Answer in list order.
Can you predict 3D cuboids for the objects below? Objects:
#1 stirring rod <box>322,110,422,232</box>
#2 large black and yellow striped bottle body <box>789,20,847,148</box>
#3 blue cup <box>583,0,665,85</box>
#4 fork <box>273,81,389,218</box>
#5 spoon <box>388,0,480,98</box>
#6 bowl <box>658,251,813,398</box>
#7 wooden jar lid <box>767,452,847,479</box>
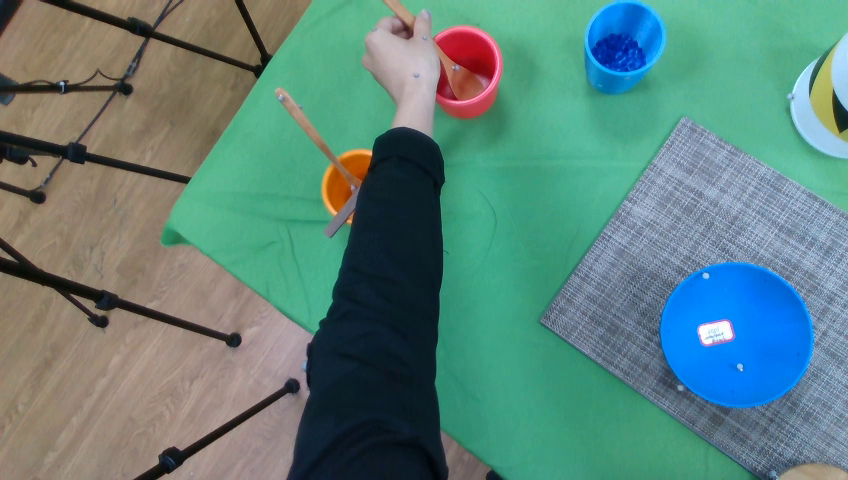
[{"bbox_3d":[-0.061,-0.080,0.704,0.014,0.006,0.176,39,91,9],"label":"stirring rod"},{"bbox_3d":[0.475,-0.177,0.613,0.130,0.184,0.130,-1,84,9],"label":"large black and yellow striped bottle body"},{"bbox_3d":[0.222,-0.223,0.699,0.092,0.100,0.092,-1,87,9],"label":"blue cup"},{"bbox_3d":[-0.107,-0.103,0.716,0.028,0.018,0.209,-30,125,13],"label":"fork"},{"bbox_3d":[0.004,-0.236,0.703,0.021,0.196,0.041,9,64,48],"label":"spoon"},{"bbox_3d":[0.327,0.091,0.661,0.151,0.077,0.151,-1,84,9],"label":"bowl"},{"bbox_3d":[0.426,0.283,0.657,0.108,0.021,0.108,0,89,13],"label":"wooden jar lid"}]
